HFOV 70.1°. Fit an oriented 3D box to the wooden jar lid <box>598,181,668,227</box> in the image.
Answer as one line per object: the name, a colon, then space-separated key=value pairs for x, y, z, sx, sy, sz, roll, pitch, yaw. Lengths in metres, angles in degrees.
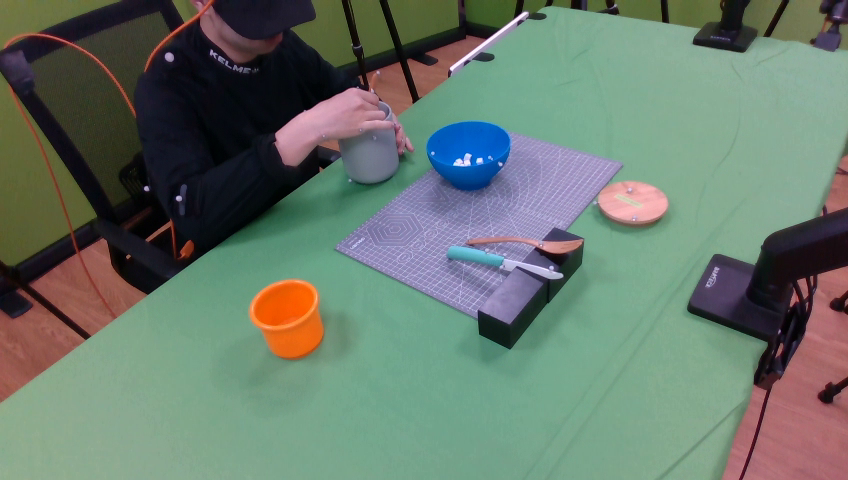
wooden jar lid: x=0.340 y=-0.058 z=0.989 sx=0.108 sy=0.021 sz=0.108 roll=-5 pitch=41 yaw=5

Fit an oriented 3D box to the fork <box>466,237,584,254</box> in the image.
fork: x=0.142 y=0.005 z=0.894 sx=0.205 sy=0.019 sz=0.028 roll=4 pitch=43 yaw=41

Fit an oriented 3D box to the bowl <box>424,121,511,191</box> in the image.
bowl: x=0.081 y=-0.141 z=1.074 sx=0.151 sy=0.077 sz=0.150 roll=-4 pitch=41 yaw=4

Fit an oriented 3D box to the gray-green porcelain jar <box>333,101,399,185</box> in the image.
gray-green porcelain jar: x=-0.104 y=-0.174 z=1.109 sx=0.106 sy=0.127 sz=0.105 roll=-4 pitch=39 yaw=4

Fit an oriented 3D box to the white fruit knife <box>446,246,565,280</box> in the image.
white fruit knife: x=0.111 y=0.033 z=0.868 sx=0.205 sy=0.027 sz=0.016 roll=11 pitch=43 yaw=40
